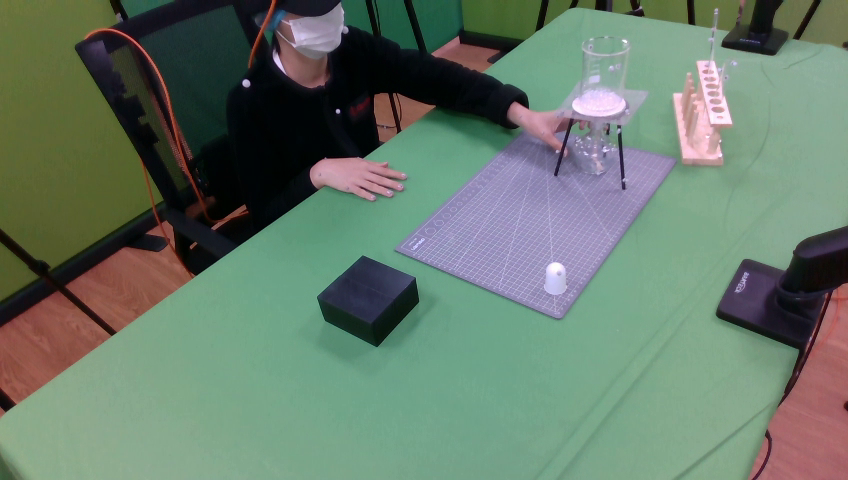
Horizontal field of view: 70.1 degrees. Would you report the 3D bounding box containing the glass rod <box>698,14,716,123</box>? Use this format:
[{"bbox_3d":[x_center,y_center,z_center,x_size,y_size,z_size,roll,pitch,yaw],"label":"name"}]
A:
[{"bbox_3d":[0.531,-0.320,1.136,0.008,0.200,0.008,3,12,0],"label":"glass rod"}]

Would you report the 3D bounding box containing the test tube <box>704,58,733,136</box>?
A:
[{"bbox_3d":[0.516,-0.247,1.062,0.017,0.151,0.017,-3,43,4],"label":"test tube"}]

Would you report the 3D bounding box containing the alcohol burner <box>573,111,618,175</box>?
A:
[{"bbox_3d":[0.302,-0.174,1.060,0.078,0.119,0.077,-3,41,3],"label":"alcohol burner"}]

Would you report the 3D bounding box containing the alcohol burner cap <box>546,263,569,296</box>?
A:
[{"bbox_3d":[0.191,0.053,0.862,0.034,0.048,0.033,-5,40,4],"label":"alcohol burner cap"}]

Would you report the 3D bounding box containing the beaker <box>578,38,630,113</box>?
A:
[{"bbox_3d":[0.290,-0.265,0.976,0.084,0.101,0.073,-18,41,-14],"label":"beaker"}]

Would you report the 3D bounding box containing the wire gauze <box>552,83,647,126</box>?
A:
[{"bbox_3d":[0.293,-0.224,1.004,0.120,0.011,0.125,19,43,26],"label":"wire gauze"}]

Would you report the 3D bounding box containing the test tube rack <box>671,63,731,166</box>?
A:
[{"bbox_3d":[0.513,-0.241,1.132,0.066,0.085,0.242,4,41,14],"label":"test tube rack"}]

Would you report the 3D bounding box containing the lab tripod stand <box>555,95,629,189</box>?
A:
[{"bbox_3d":[0.300,-0.174,1.045,0.148,0.132,0.147,-5,38,5],"label":"lab tripod stand"}]
